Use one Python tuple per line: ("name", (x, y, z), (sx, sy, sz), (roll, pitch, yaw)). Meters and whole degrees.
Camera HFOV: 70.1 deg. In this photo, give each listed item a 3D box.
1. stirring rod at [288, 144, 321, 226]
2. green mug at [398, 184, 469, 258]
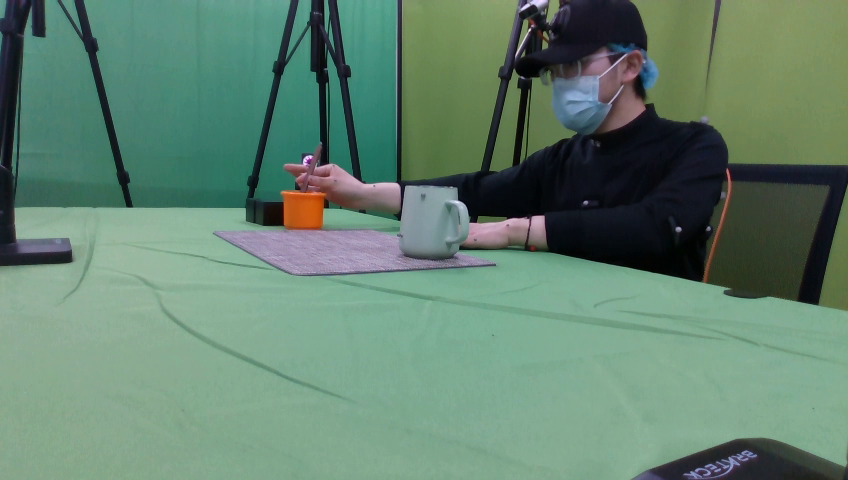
("stirring rod", (-0.239, -0.112, 1.210), (0.014, 0.176, 0.006), (13, -10, 28))
("green mug", (0.019, -0.028, 0.890), (0.093, 0.105, 0.124), (-4, 9, -41))
